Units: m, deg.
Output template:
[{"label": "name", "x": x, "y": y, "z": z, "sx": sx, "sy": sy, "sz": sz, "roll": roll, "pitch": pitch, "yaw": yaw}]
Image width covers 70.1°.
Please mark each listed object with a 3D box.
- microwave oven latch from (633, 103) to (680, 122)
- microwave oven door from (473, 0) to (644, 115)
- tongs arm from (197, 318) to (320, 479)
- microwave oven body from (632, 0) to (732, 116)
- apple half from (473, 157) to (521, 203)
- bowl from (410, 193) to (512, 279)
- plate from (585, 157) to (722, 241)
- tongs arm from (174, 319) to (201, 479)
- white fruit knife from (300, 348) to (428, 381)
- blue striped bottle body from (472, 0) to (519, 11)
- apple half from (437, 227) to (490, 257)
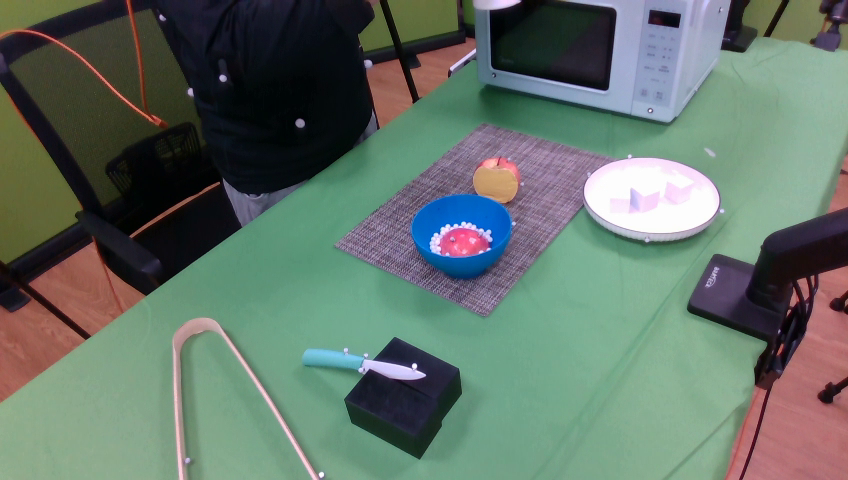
[{"label": "microwave oven latch", "x": 0.443, "y": -0.249, "z": 1.157, "sx": 0.078, "sy": 0.029, "sz": 0.030, "roll": 19, "pitch": 48, "yaw": 29}, {"label": "microwave oven door", "x": 0.257, "y": -0.396, "z": 1.199, "sx": 0.353, "sy": 0.245, "sz": 0.039, "roll": 21, "pitch": 48, "yaw": 29}, {"label": "tongs arm", "x": -0.200, "y": 0.207, "z": 0.751, "sx": 0.028, "sy": 0.028, "sz": 0.384, "roll": -31, "pitch": 45, "yaw": -22}, {"label": "microwave oven body", "x": 0.377, "y": -0.463, "z": 1.267, "sx": 0.438, "sy": 0.261, "sz": 0.327, "roll": 21, "pitch": 48, "yaw": 30}, {"label": "apple half", "x": 0.128, "y": -0.107, "z": 1.030, "sx": 0.080, "sy": 0.075, "sz": 0.053, "roll": 4, "pitch": 38, "yaw": 19}, {"label": "bowl", "x": 0.058, "y": 0.005, "z": 0.905, "sx": 0.151, "sy": 0.077, "sz": 0.150, "roll": -4, "pitch": 40, "yaw": 4}, {"label": "plate", "x": 0.367, "y": -0.063, "z": 0.979, "sx": 0.207, "sy": 0.039, "sz": 0.206, "roll": -4, "pitch": 40, "yaw": 4}, {"label": "tongs arm", "x": -0.272, "y": 0.234, "z": 0.723, "sx": 0.051, "sy": 0.026, "sz": 0.381, "roll": -18, "pitch": 40, "yaw": -15}, {"label": "white fruit knife", "x": -0.080, "y": 0.154, "z": 0.748, "sx": 0.206, "sy": 0.027, "sz": 0.016, "roll": 1, "pitch": 20, "yaw": 34}, {"label": "blue striped bottle body", "x": 0.089, "y": -0.367, "z": 0.785, "sx": 0.063, "sy": 0.121, "sz": 0.063, "roll": -6, "pitch": 31, "yaw": 4}, {"label": "apple half", "x": 0.056, "y": 0.002, "z": 0.902, "sx": 0.081, "sy": 0.033, "sz": 0.081, "roll": -3, "pitch": 42, "yaw": 3}]
